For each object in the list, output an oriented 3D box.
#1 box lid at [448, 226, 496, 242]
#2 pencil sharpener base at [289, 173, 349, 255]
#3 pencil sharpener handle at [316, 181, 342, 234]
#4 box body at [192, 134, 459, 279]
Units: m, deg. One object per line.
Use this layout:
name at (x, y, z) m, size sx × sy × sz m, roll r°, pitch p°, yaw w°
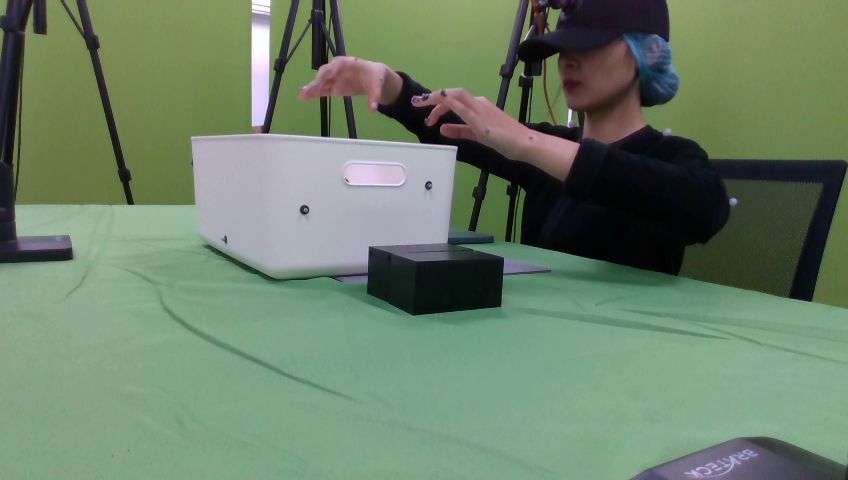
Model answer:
box lid at (-0.061, -0.021, 1.188) m, size 0.265 × 0.015 × 0.369 m, roll -2°, pitch 8°, yaw -32°
pencil sharpener base at (-0.145, -0.037, 0.833) m, size 0.062 × 0.107 × 0.076 m, roll -1°, pitch 9°, yaw -31°
pencil sharpener handle at (-0.119, -0.042, 0.787) m, size 0.036 × 0.067 × 0.030 m, roll 2°, pitch 7°, yaw -31°
box body at (-0.154, -0.059, 0.840) m, size 0.255 × 0.160 × 0.362 m, roll -2°, pitch 9°, yaw -33°
